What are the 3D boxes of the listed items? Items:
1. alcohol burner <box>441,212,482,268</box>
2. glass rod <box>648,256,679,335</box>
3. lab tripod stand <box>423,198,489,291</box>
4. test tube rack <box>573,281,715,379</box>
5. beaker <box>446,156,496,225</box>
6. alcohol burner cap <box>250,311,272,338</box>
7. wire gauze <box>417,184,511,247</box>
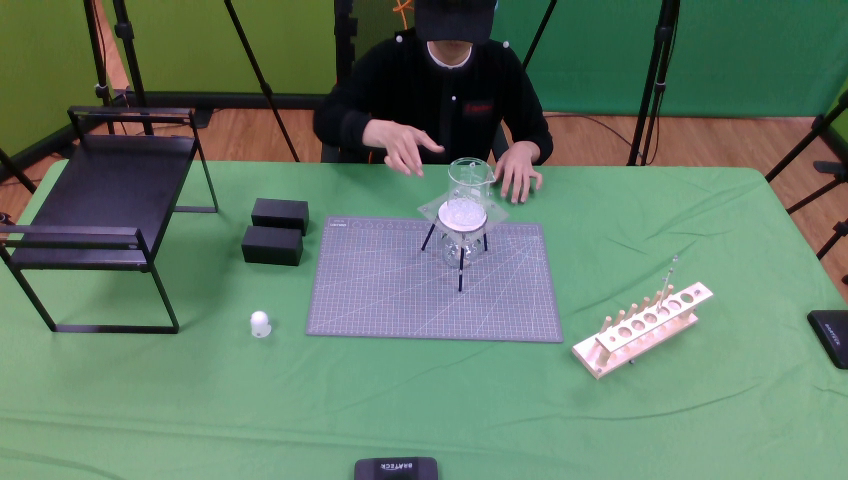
[{"bbox_3d":[0.071,-0.005,1.136,0.078,0.120,0.077,1,44,-1],"label":"alcohol burner"},{"bbox_3d":[0.390,0.095,0.990,0.008,0.201,0.008,-2,45,2],"label":"glass rod"},{"bbox_3d":[0.064,-0.002,1.119,0.148,0.132,0.147,1,47,0],"label":"lab tripod stand"},{"bbox_3d":[0.378,0.140,1.038,0.242,0.085,0.066,-22,51,-22],"label":"test tube rack"},{"bbox_3d":[0.078,-0.081,1.037,0.084,0.101,0.073,15,48,12],"label":"beaker"},{"bbox_3d":[-0.278,0.141,1.025,0.034,0.048,0.033,1,47,-1],"label":"alcohol burner cap"},{"bbox_3d":[0.071,-0.049,1.074,0.121,0.011,0.124,-31,52,-30],"label":"wire gauze"}]
